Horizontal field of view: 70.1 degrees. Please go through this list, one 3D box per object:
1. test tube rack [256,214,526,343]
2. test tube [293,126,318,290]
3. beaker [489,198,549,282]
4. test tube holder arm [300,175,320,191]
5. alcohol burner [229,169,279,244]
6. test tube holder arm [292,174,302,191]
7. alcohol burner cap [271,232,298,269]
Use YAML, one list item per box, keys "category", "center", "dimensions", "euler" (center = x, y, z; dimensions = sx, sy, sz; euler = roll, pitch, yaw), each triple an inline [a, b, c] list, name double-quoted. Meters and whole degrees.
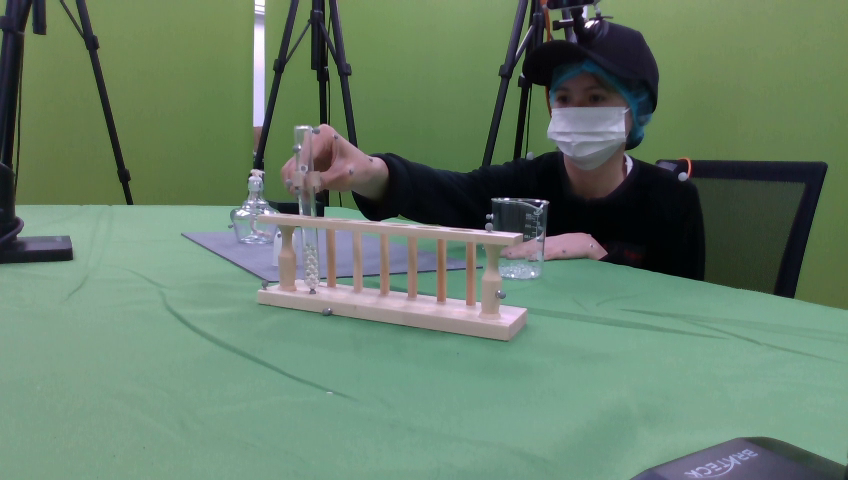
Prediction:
- category: "test tube rack"
  center: [-0.032, 0.027, 0.547]
  dimensions: [0.241, 0.085, 0.067]
  euler: [6, 8, 22]
- category: "test tube"
  center: [-0.108, -0.028, 0.551]
  dimensions: [0.017, 0.150, 0.017]
  euler: [-1, 10, 0]
- category: "beaker"
  center: [0.120, -0.001, 0.768]
  dimensions: [0.074, 0.100, 0.083]
  euler: [-1, 9, -25]
- category: "test tube holder arm"
  center: [-0.110, -0.053, 0.570]
  dimensions: [0.010, 0.015, 0.087]
  euler: [5, 3, -20]
- category: "alcohol burner"
  center: [-0.268, -0.053, 0.958]
  dimensions: [0.078, 0.119, 0.078]
  euler: [2, 6, 0]
- category: "test tube holder arm"
  center: [-0.127, -0.057, 0.612]
  dimensions: [0.013, 0.015, 0.178]
  euler: [6, 3, -13]
- category: "alcohol burner cap"
  center: [-0.175, 0.012, 0.761]
  dimensions: [0.034, 0.048, 0.034]
  euler: [2, 8, 0]
